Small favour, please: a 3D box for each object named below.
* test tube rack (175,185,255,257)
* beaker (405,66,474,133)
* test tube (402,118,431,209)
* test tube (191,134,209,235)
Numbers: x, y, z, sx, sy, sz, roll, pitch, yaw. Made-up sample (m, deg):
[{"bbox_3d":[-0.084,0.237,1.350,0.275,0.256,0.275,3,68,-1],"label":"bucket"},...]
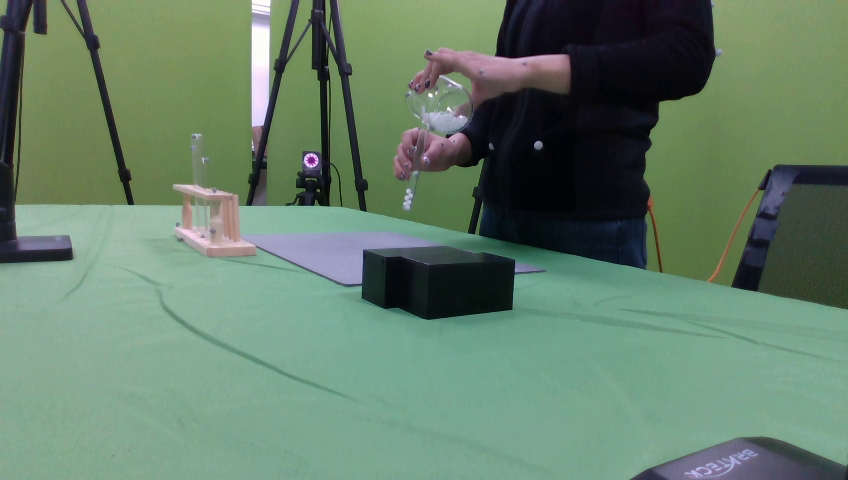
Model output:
[{"bbox_3d":[-0.324,-0.035,0.922,0.067,0.085,0.241,-2,9,-31],"label":"test tube rack"},{"bbox_3d":[0.023,-0.200,0.878,0.074,0.084,0.100,-7,29,-20],"label":"beaker"},{"bbox_3d":[-0.013,-0.119,0.956,0.017,0.150,0.017,13,20,-4],"label":"test tube"},{"bbox_3d":[-0.332,-0.082,0.897,0.017,0.150,0.017,-2,6,0],"label":"test tube"}]
